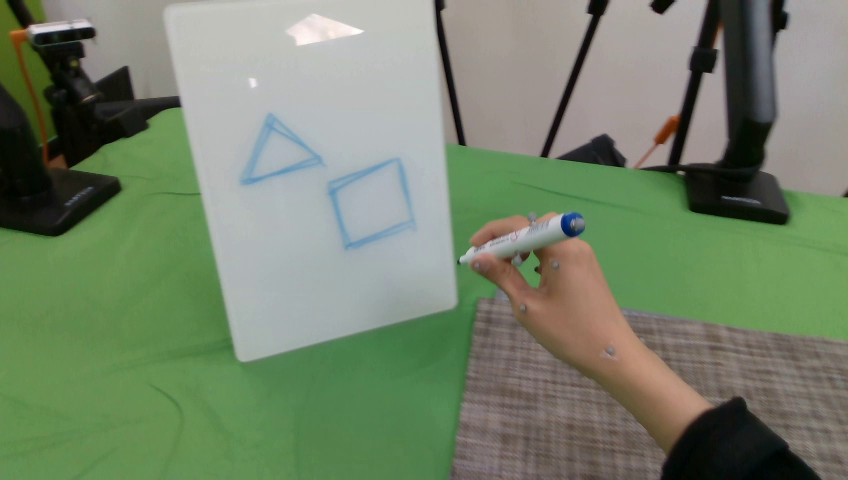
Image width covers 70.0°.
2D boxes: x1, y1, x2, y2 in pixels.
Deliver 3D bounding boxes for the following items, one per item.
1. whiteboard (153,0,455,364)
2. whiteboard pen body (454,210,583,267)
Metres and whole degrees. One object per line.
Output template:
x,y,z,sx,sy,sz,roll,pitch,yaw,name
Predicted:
-0.108,-0.072,0.589,0.218,0.307,0.142,-13,19,-18,whiteboard
0.056,0.003,0.405,0.017,0.017,0.140,-23,-1,-29,whiteboard pen body
